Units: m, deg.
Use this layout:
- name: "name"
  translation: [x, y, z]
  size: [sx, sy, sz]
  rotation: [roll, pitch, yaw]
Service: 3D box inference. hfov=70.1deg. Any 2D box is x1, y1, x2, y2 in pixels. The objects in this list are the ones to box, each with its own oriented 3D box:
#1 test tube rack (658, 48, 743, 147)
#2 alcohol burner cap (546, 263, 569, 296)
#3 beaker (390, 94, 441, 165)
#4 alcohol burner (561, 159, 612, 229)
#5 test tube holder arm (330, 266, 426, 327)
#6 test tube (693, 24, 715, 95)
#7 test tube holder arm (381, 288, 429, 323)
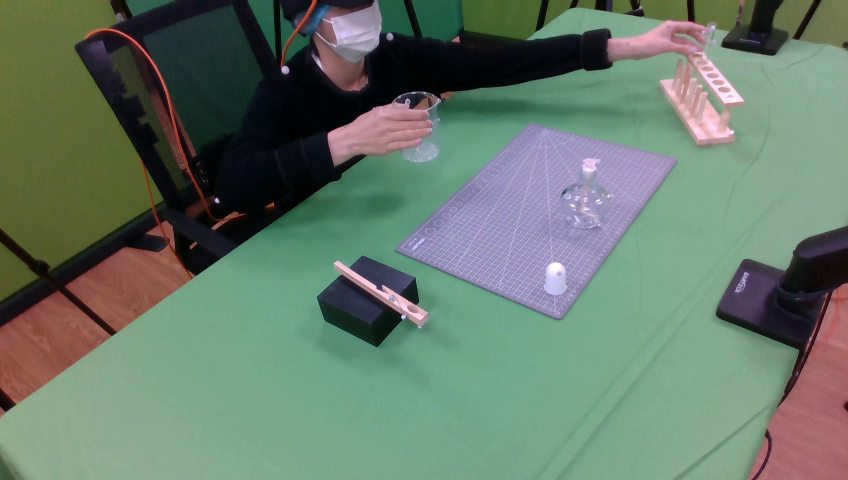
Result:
- name: "test tube rack"
  translation: [0.532, -0.284, 1.180]
  size: [0.067, 0.085, 0.241]
  rotation: [-5, 40, 4]
- name: "alcohol burner cap"
  translation: [0.191, 0.053, 0.862]
  size: [0.034, 0.048, 0.033]
  rotation: [-5, 40, 4]
- name: "beaker"
  translation: [-0.009, -0.184, 1.007]
  size: [0.084, 0.100, 0.073]
  rotation: [-13, 37, -8]
- name: "alcohol burner"
  translation: [0.257, -0.077, 0.951]
  size: [0.078, 0.119, 0.077]
  rotation: [-3, 40, 3]
- name: "test tube holder arm"
  translation: [-0.067, 0.074, 0.827]
  size: [0.177, 0.015, 0.013]
  rotation: [24, 40, 32]
- name: "test tube"
  translation: [0.543, -0.348, 1.177]
  size: [0.017, 0.151, 0.017]
  rotation: [-5, 46, 5]
- name: "test tube holder arm"
  translation: [-0.029, 0.087, 0.807]
  size: [0.087, 0.015, 0.010]
  rotation: [25, 41, 33]
